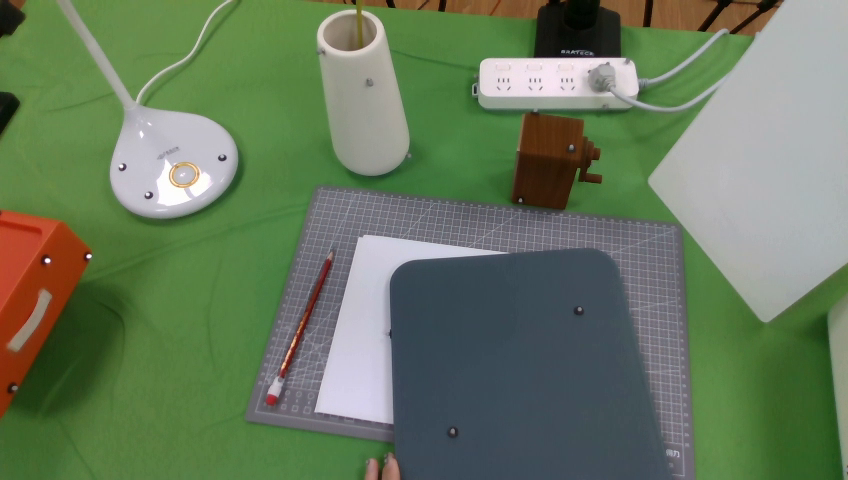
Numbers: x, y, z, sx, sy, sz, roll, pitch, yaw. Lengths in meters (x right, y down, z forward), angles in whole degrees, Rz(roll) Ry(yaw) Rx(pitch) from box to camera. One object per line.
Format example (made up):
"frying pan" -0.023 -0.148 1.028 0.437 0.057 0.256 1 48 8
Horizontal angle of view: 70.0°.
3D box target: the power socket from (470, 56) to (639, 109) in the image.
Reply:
"power socket" 0.176 -0.213 0.820 0.227 0.033 0.071 2 61 3

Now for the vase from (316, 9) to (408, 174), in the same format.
"vase" -0.074 -0.166 0.708 0.098 0.202 0.097 -2 60 3

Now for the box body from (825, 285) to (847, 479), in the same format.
"box body" 0.512 0.190 0.505 0.254 0.162 0.361 9 61 7

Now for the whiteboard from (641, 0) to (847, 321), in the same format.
"whiteboard" 0.416 -0.097 0.624 0.144 0.307 0.215 -13 58 -27

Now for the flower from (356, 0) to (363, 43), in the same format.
"flower" -0.068 -0.222 0.644 0.038 0.365 0.043 -4 42 -7

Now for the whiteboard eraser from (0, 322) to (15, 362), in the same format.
"whiteboard eraser" -0.471 0.107 0.605 0.112 0.042 0.055 2 54 12

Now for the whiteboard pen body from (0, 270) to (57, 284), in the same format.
"whiteboard pen body" -0.463 0.040 0.646 0.141 0.017 0.017 -1 60 0

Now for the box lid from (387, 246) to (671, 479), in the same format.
"box lid" 0.098 0.168 0.612 0.263 0.015 0.368 -4 59 -1

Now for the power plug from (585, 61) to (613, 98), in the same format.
"power plug" 0.225 -0.199 0.783 0.035 0.053 0.072 10 63 9

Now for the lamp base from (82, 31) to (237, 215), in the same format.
"lamp base" -0.333 -0.145 0.716 0.178 0.182 0.160 37 68 24

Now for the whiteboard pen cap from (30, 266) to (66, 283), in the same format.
"whiteboard pen cap" -0.402 0.038 0.646 0.033 0.018 0.018 -5 60 9

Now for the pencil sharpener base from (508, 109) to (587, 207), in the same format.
"pencil sharpener base" 0.144 -0.093 0.711 0.076 0.108 0.061 9 61 7

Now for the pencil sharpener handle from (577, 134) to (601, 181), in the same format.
"pencil sharpener handle" 0.193 -0.092 0.694 0.030 0.068 0.035 9 60 7

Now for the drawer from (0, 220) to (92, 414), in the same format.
"drawer" -0.488 0.058 0.613 0.211 0.074 0.193 11 62 8

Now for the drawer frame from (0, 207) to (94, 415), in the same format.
"drawer frame" -0.494 0.059 0.616 0.213 0.083 0.200 11 62 6

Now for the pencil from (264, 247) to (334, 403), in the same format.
"pencil" -0.134 0.088 0.673 0.012 0.012 0.193 13 60 10
